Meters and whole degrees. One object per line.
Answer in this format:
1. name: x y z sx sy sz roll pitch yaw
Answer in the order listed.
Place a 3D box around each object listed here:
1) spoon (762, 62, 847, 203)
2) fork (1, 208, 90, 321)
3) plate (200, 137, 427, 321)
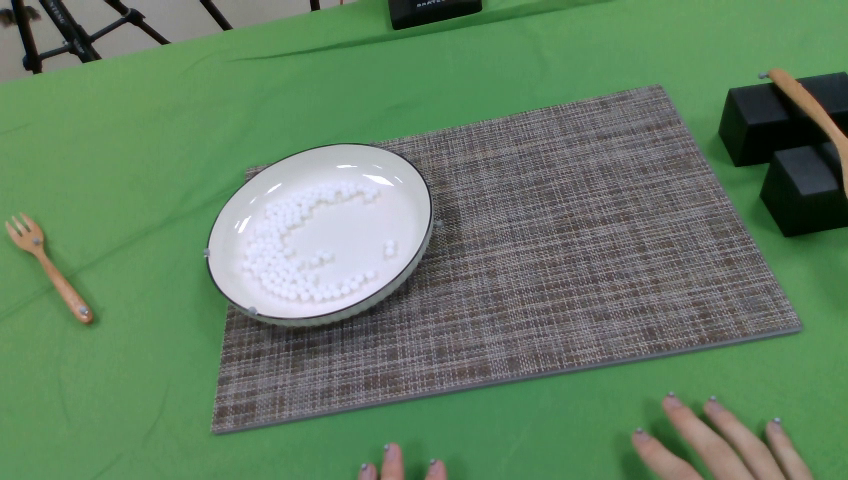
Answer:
1. spoon: 0.317 -0.090 0.478 0.041 0.022 0.191 -26 47 21
2. fork: -0.381 0.022 0.607 0.028 0.019 0.205 -38 52 -26
3. plate: -0.097 -0.011 0.555 0.207 0.039 0.205 -6 51 8
